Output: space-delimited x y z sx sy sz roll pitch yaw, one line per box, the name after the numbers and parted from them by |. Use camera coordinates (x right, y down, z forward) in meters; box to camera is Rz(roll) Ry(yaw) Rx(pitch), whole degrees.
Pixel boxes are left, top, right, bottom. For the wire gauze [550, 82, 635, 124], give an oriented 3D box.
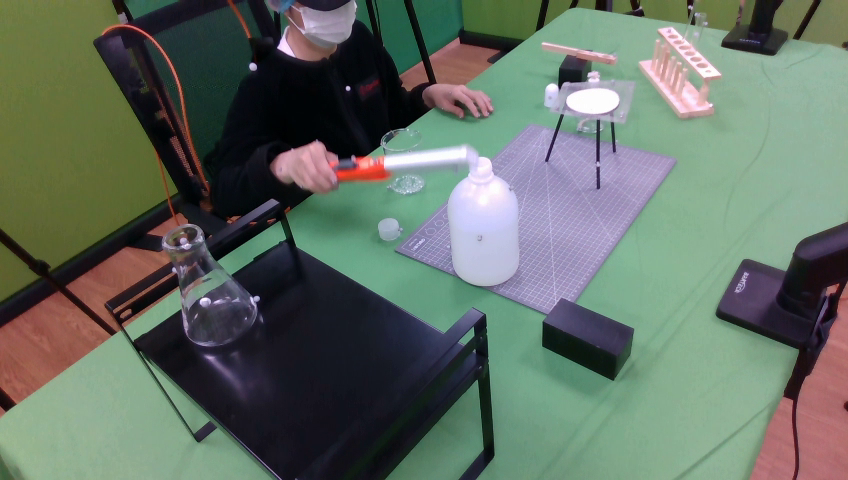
0.285 -0.236 1.020 0.124 0.011 0.121 10 44 22 | wire gauze

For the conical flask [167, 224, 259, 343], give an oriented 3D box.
-0.220 0.041 0.613 0.075 0.122 0.075 -5 40 4 | conical flask

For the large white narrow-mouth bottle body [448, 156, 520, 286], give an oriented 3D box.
0.086 -0.032 0.869 0.102 0.195 0.101 -4 40 4 | large white narrow-mouth bottle body

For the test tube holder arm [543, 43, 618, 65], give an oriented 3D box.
0.345 -0.413 1.340 0.177 0.015 0.013 25 50 31 | test tube holder arm

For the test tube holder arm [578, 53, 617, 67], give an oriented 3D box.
0.376 -0.393 1.314 0.087 0.015 0.010 26 51 32 | test tube holder arm

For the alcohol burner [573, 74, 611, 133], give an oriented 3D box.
0.330 -0.270 1.177 0.078 0.119 0.077 -4 43 4 | alcohol burner

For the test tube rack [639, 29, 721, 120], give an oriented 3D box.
0.527 -0.351 1.262 0.067 0.085 0.241 -8 40 1 | test tube rack

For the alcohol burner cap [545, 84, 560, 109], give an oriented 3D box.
0.274 -0.308 1.285 0.034 0.048 0.033 -5 42 5 | alcohol burner cap

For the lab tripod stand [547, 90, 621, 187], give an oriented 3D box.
0.289 -0.184 1.062 0.148 0.132 0.147 -6 41 6 | lab tripod stand

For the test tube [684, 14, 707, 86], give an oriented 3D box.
0.541 -0.379 1.216 0.017 0.151 0.017 -2 44 2 | test tube

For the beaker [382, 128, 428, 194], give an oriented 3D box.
-0.030 -0.142 1.095 0.073 0.101 0.084 14 44 23 | beaker

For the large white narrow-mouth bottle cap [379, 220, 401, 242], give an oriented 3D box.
-0.057 -0.015 1.011 0.038 0.024 0.037 -4 40 4 | large white narrow-mouth bottle cap

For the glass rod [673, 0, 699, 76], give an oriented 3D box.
0.541 -0.427 1.246 0.008 0.200 0.008 -1 48 1 | glass rod

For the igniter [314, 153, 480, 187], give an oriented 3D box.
-0.050 -0.090 0.804 0.274 0.058 0.025 -1 75 37 | igniter
